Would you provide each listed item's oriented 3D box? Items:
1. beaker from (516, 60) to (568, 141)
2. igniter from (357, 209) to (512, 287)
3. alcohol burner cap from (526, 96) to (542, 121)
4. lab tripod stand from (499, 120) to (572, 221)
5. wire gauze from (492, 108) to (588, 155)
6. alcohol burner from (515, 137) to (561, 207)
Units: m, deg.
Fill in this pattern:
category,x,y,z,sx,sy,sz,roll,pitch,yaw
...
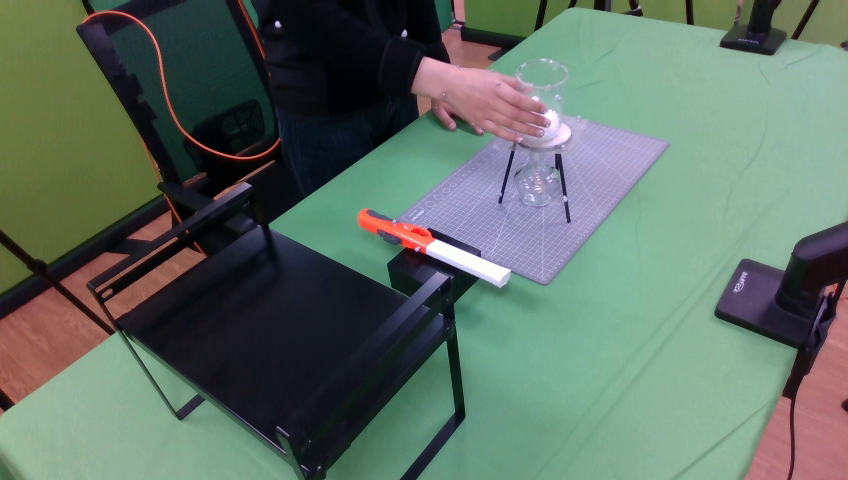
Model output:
category,x,y,z,sx,sy,sz,roll,pitch,yaw
beaker,0.176,-0.208,0.907,0.073,0.101,0.084,29,56,28
igniter,0.004,0.006,0.891,0.274,0.025,0.057,23,38,30
alcohol burner cap,0.225,-0.272,1.243,0.034,0.048,0.033,-5,40,5
lab tripod stand,0.198,-0.117,0.993,0.148,0.132,0.147,-3,40,3
wire gauze,0.185,-0.170,0.953,0.121,0.011,0.125,13,44,22
alcohol burner,0.189,-0.116,1.008,0.078,0.119,0.077,-5,39,5
